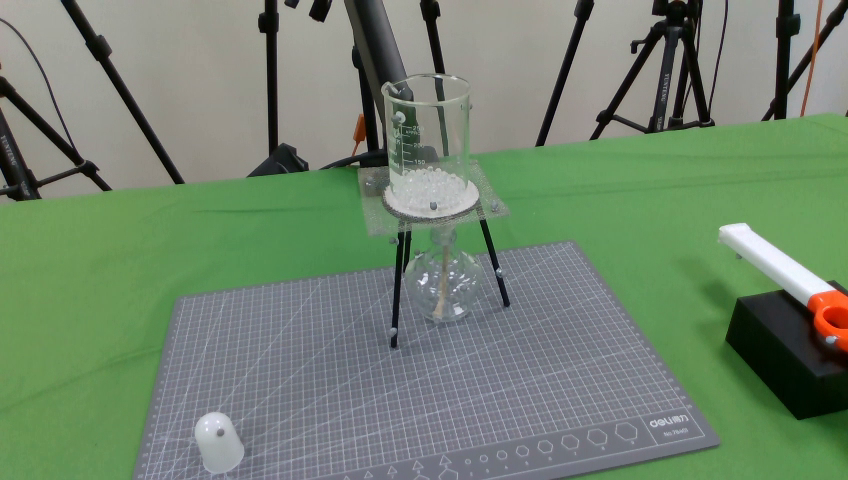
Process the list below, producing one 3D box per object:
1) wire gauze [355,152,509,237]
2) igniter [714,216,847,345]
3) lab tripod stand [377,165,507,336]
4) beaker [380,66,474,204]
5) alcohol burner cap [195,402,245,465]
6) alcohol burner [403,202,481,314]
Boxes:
[{"bbox_3d":[0.002,-0.048,0.545,0.121,0.011,0.123,-8,36,-7],"label":"wire gauze"},{"bbox_3d":[0.341,0.051,0.512,0.057,0.025,0.273,-9,31,-8],"label":"igniter"},{"bbox_3d":[0.009,0.004,0.585,0.148,0.132,0.147,-1,33,1],"label":"lab tripod stand"},{"bbox_3d":[0.000,-0.089,0.518,0.074,0.101,0.083,-29,42,-35],"label":"beaker"},{"bbox_3d":[-0.159,0.146,0.468,0.034,0.048,0.033,-1,35,1],"label":"alcohol burner cap"},{"bbox_3d":[0.018,0.014,0.588,0.078,0.120,0.077,0,36,1],"label":"alcohol burner"}]
